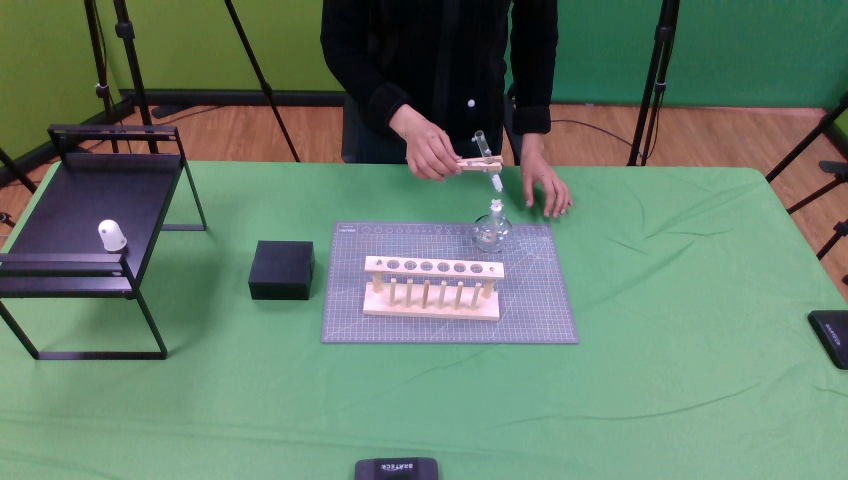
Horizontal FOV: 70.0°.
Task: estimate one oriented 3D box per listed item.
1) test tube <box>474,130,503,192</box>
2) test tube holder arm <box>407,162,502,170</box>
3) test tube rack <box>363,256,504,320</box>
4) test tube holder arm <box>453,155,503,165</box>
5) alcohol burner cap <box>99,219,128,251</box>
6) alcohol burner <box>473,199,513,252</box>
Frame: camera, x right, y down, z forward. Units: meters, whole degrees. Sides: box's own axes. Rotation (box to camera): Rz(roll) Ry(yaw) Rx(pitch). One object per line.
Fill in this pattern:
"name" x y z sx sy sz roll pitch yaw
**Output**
"test tube" 0.114 -0.134 1.053 0.017 0.151 0.017 -12 52 15
"test tube holder arm" 0.051 -0.132 1.079 0.178 0.015 0.013 2 53 24
"test tube rack" 0.015 0.085 1.069 0.242 0.085 0.066 3 45 -2
"test tube holder arm" 0.094 -0.137 1.065 0.087 0.015 0.010 -4 51 20
"alcohol burner cap" -0.467 -0.010 0.907 0.034 0.048 0.033 1 47 -1
"alcohol burner" 0.135 -0.034 1.174 0.078 0.120 0.077 1 47 -1
